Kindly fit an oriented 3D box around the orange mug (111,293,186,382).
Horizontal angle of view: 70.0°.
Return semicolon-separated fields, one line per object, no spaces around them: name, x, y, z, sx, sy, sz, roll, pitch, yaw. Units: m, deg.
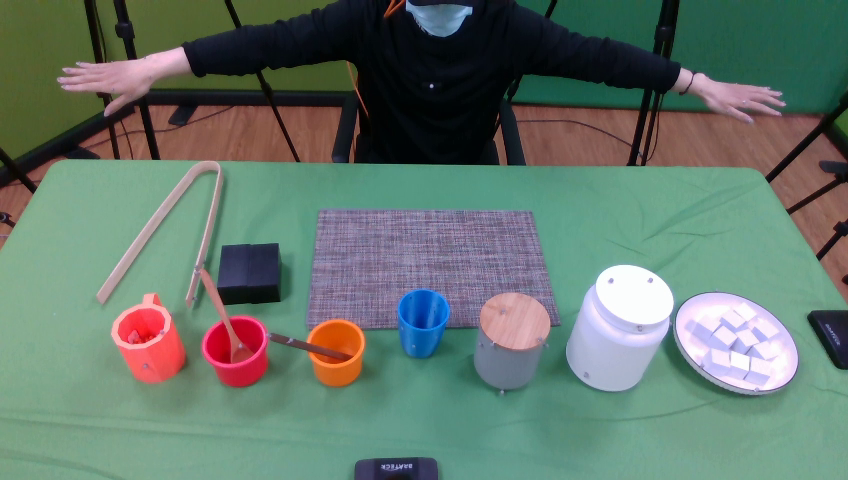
orange mug;-0.435;0.149;0.969;0.083;0.101;0.125;-5;51;-8

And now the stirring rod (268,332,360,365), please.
stirring rod;-0.167;0.170;0.942;0.177;0.006;0.014;27;31;-41

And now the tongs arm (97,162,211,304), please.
tongs arm;-0.519;-0.028;1.183;0.028;0.028;0.385;5;45;12

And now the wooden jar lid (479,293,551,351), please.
wooden jar lid;0.138;0.127;0.925;0.108;0.021;0.107;1;47;-1

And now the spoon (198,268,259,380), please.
spoon;-0.312;0.132;0.962;0.041;0.021;0.194;-24;96;-23

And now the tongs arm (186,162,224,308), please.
tongs arm;-0.435;-0.025;1.181;0.051;0.027;0.382;-2;45;0

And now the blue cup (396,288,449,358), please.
blue cup;-0.006;0.144;1.002;0.093;0.101;0.092;3;46;-3

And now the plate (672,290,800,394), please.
plate;0.533;0.178;1.050;0.208;0.039;0.206;2;46;-2

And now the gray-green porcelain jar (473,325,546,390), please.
gray-green porcelain jar;0.135;0.170;0.969;0.106;0.127;0.105;2;46;-2

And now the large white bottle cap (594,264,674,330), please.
large white bottle cap;0.314;0.083;0.906;0.115;0.018;0.114;2;46;-2

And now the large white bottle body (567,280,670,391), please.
large white bottle body;0.310;0.141;0.967;0.131;0.185;0.130;2;46;-2
